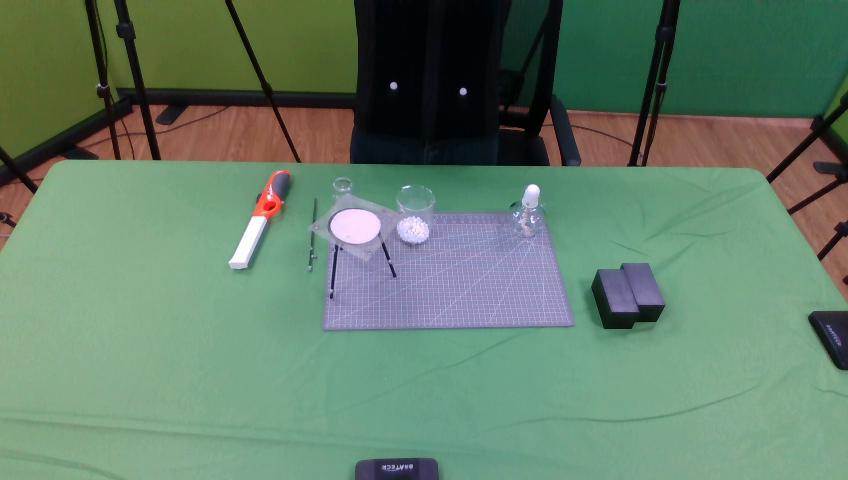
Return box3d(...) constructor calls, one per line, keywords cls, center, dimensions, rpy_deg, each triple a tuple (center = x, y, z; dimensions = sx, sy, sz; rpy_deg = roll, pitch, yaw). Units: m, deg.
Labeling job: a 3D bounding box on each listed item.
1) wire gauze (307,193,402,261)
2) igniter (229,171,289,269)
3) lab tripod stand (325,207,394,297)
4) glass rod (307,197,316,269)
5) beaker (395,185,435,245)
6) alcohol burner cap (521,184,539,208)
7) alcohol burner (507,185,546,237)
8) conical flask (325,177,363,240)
box3d(cls="wire gauze", center=(-0.119, -0.028, 1.043), dimensions=(0.125, 0.011, 0.121), rpy_deg=(24, 47, 17))
box3d(cls="igniter", center=(-0.328, -0.049, 1.218), dimensions=(0.057, 0.025, 0.275), rpy_deg=(1, 45, 10))
box3d(cls="lab tripod stand", center=(-0.124, 0.017, 1.092), dimensions=(0.148, 0.132, 0.147), rpy_deg=(3, 44, -3))
box3d(cls="glass rod", center=(-0.224, -0.018, 1.210), dimensions=(0.008, 0.008, 0.198), rpy_deg=(-1, 46, -5))
box3d(cls="beaker", center=(-0.022, -0.048, 1.187), dimensions=(0.074, 0.101, 0.083), rpy_deg=(-28, 53, -28))
box3d(cls="alcohol burner cap", center=(0.209, -0.087, 1.183), dimensions=(0.034, 0.048, 0.033), rpy_deg=(0, 53, 0))
box3d(cls="alcohol burner", center=(0.208, -0.063, 1.210), dimensions=(0.078, 0.119, 0.077), rpy_deg=(3, 44, -3))
box3d(cls="conical flask", center=(-0.158, -0.064, 1.176), dimensions=(0.075, 0.122, 0.075), rpy_deg=(2, 46, -2))
